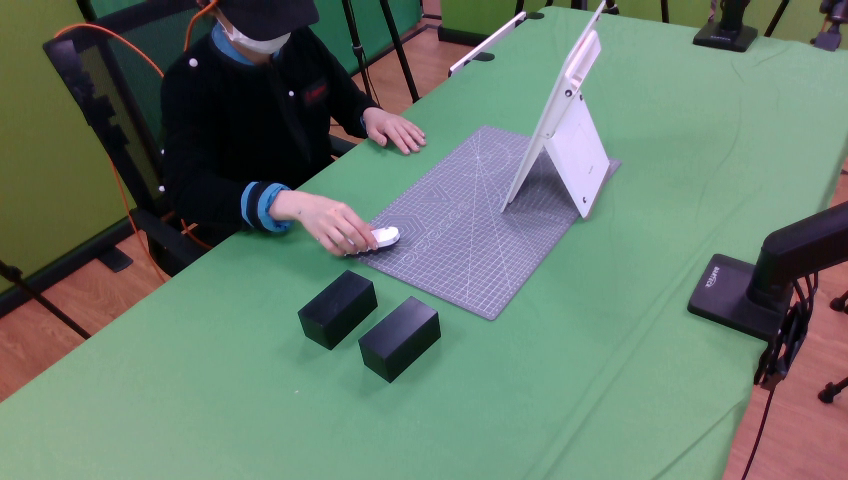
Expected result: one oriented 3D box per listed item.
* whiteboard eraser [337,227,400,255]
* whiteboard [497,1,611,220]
[{"bbox_3d":[-0.090,0.001,0.965,0.101,0.019,0.041,-12,30,6],"label":"whiteboard eraser"},{"bbox_3d":[0.259,-0.177,0.963,0.143,0.306,0.217,28,48,9],"label":"whiteboard"}]
